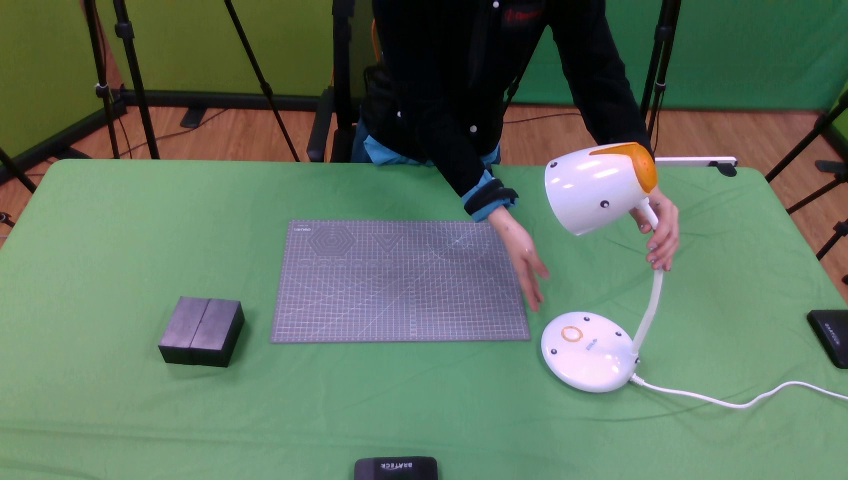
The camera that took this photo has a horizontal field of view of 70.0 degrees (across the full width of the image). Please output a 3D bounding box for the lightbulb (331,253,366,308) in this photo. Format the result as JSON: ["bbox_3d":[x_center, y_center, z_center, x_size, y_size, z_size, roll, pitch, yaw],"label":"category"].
[{"bbox_3d":[-0.131,0.074,1.094,0.059,0.060,0.107,-15,65,-18],"label":"lightbulb"}]

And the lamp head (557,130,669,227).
[{"bbox_3d":[0.251,-0.085,0.784,0.123,0.113,0.112,-20,38,29],"label":"lamp head"}]

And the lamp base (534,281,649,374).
[{"bbox_3d":[0.287,0.113,1.000,0.179,0.181,0.160,12,47,5],"label":"lamp base"}]
